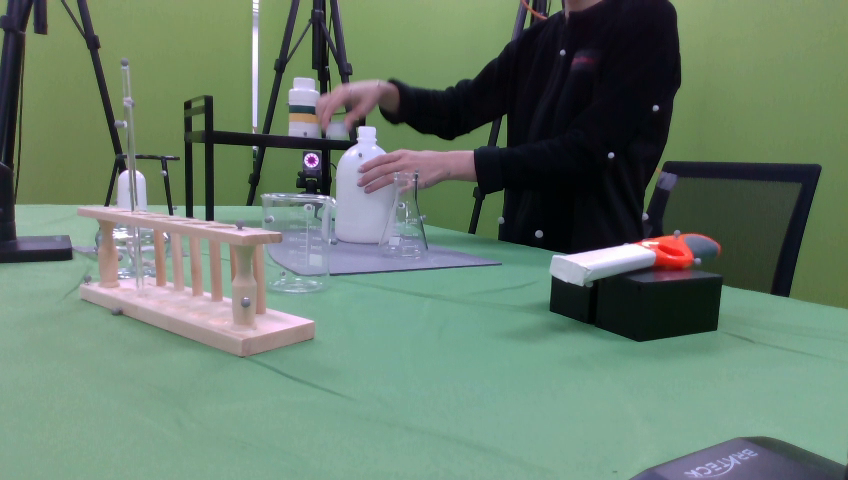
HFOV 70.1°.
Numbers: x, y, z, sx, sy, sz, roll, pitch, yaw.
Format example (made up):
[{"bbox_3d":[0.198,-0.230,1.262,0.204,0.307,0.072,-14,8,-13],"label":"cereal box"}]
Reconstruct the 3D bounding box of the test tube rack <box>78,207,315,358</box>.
[{"bbox_3d":[-0.196,0.023,0.500,0.241,0.085,0.067,8,9,37],"label":"test tube rack"}]

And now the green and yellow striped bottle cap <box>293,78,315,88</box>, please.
[{"bbox_3d":[-0.248,-0.324,1.256,0.045,0.020,0.045,4,8,0],"label":"green and yellow striped bottle cap"}]

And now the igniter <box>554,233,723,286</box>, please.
[{"bbox_3d":[0.214,0.015,0.570,0.278,0.025,0.057,-5,22,-44],"label":"igniter"}]

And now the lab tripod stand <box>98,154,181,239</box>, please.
[{"bbox_3d":[-0.427,-0.066,0.942,0.148,0.131,0.148,1,6,0],"label":"lab tripod stand"}]

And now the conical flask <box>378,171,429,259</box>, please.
[{"bbox_3d":[-0.027,-0.037,0.869,0.075,0.122,0.075,3,7,0],"label":"conical flask"}]

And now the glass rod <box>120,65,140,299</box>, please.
[{"bbox_3d":[-0.249,-0.047,0.513,0.008,0.199,0.008,-1,4,0],"label":"glass rod"}]

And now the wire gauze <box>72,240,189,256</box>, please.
[{"bbox_3d":[-0.399,0.013,0.820,0.126,0.011,0.121,-3,8,-37],"label":"wire gauze"}]

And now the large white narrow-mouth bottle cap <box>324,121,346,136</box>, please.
[{"bbox_3d":[-0.150,-0.188,1.021,0.038,0.024,0.037,3,9,0],"label":"large white narrow-mouth bottle cap"}]

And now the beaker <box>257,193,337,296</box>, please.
[{"bbox_3d":[-0.130,0.003,0.628,0.084,0.100,0.074,5,8,15],"label":"beaker"}]

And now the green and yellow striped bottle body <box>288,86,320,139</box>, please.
[{"bbox_3d":[-0.250,-0.272,1.261,0.063,0.119,0.063,3,7,0],"label":"green and yellow striped bottle body"}]

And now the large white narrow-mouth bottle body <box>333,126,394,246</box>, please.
[{"bbox_3d":[-0.099,-0.093,1.018,0.102,0.194,0.101,3,9,0],"label":"large white narrow-mouth bottle body"}]

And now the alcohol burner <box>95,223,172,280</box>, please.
[{"bbox_3d":[-0.320,-0.016,0.667,0.078,0.119,0.078,0,7,0],"label":"alcohol burner"}]

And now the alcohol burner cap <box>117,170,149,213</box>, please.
[{"bbox_3d":[-0.320,-0.052,0.661,0.034,0.048,0.034,-3,0,0],"label":"alcohol burner cap"}]
